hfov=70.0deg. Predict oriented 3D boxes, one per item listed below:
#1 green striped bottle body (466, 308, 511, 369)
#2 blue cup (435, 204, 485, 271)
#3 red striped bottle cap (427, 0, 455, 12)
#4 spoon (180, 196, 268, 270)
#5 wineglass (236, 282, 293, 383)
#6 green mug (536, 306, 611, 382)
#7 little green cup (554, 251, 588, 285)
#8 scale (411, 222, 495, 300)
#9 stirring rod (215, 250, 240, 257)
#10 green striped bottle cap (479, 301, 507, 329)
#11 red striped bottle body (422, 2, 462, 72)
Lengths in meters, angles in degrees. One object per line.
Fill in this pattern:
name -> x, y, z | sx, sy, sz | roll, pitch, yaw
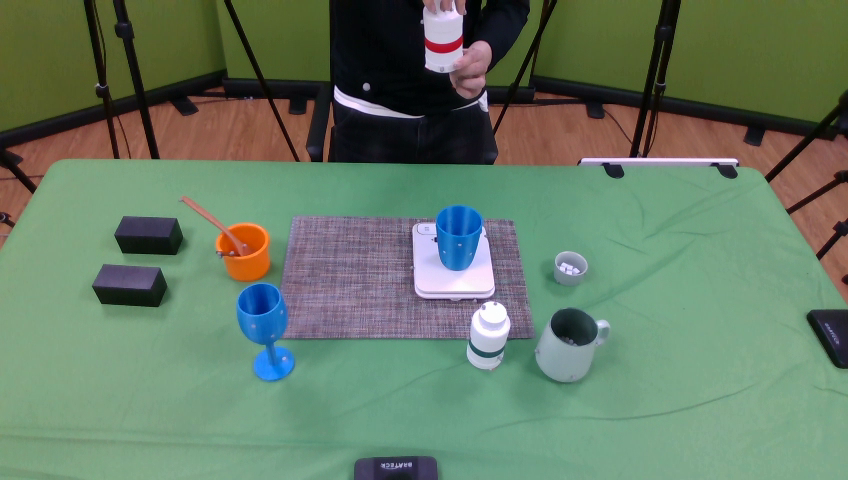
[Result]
green striped bottle body -> 0.106, 0.154, 0.988 | 0.063, 0.120, 0.063 | 2, 46, -2
blue cup -> 0.061, 0.001, 1.097 | 0.092, 0.101, 0.092 | 0, 44, 0
red striped bottle cap -> 0.026, -0.370, 0.928 | 0.044, 0.018, 0.044 | -1, 55, 1
spoon -> -0.360, -0.014, 1.094 | 0.021, 0.194, 0.041 | -27, 26, 31
wineglass -> -0.243, 0.143, 0.934 | 0.074, 0.173, 0.073 | 2, 46, -2
green mug -> 0.250, 0.167, 0.996 | 0.125, 0.105, 0.092 | -15, 49, -19
little green cup -> 0.276, 0.055, 1.151 | 0.061, 0.039, 0.061 | 1, 46, -1
scale -> 0.052, 0.031, 1.158 | 0.149, 0.032, 0.199 | 1, 46, -4
stirring rod -> -0.339, 0.024, 1.059 | 0.014, 0.176, 0.006 | 16, 86, -6
green striped bottle cap -> 0.109, 0.117, 0.950 | 0.044, 0.020, 0.044 | 2, 47, -2
red striped bottle body -> 0.029, -0.336, 0.970 | 0.063, 0.120, 0.062 | -2, 52, 3
